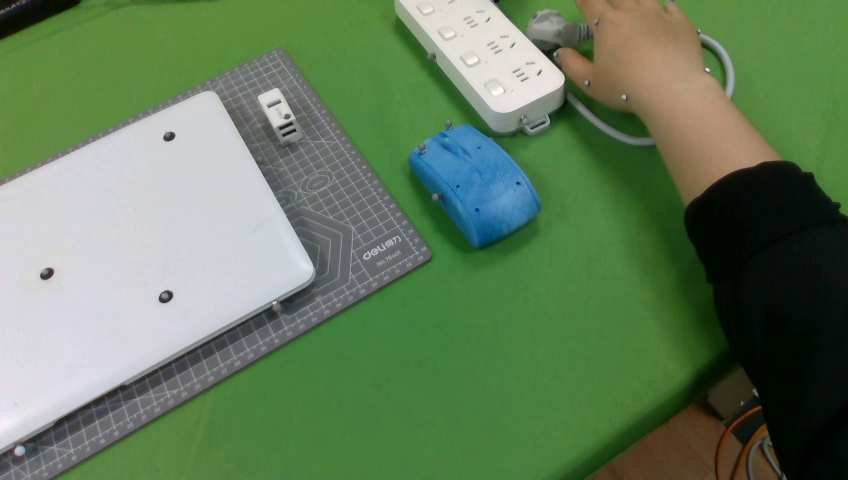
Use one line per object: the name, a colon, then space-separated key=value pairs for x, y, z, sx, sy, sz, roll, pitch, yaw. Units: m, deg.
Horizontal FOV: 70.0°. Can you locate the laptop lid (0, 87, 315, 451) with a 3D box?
laptop lid: x=-0.284 y=0.025 z=0.466 sx=0.357 sy=0.013 sz=0.239 roll=-28 pitch=61 yaw=-9

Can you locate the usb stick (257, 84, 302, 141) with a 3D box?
usb stick: x=-0.130 y=-0.118 z=0.538 sx=0.021 sy=0.027 sz=0.058 roll=-28 pitch=56 yaw=-7

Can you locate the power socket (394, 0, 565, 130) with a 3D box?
power socket: x=0.044 y=-0.185 z=0.554 sx=0.072 sy=0.033 sz=0.224 roll=-28 pitch=59 yaw=-8

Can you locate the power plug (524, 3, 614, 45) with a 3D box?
power plug: x=0.128 y=-0.195 z=0.554 sx=0.073 sy=0.035 sz=0.052 roll=-1 pitch=33 yaw=-18

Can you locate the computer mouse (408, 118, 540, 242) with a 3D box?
computer mouse: x=0.036 y=-0.054 z=0.472 sx=0.063 sy=0.041 sz=0.116 roll=-31 pitch=55 yaw=-8

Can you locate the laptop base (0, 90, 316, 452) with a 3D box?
laptop base: x=-0.284 y=0.029 z=0.476 sx=0.354 sy=0.023 sz=0.233 roll=-29 pitch=63 yaw=-10
